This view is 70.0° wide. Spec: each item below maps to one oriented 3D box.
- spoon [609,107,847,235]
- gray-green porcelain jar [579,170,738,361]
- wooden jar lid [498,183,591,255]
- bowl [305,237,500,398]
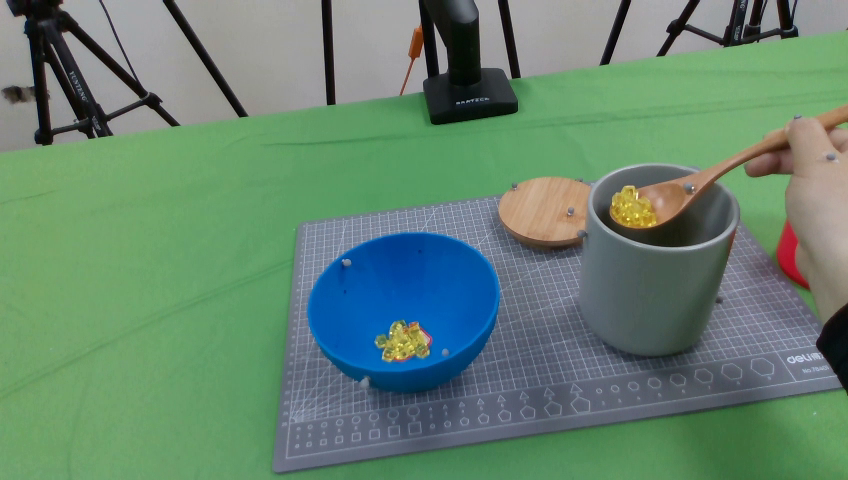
[{"bbox_3d":[0.223,-0.052,0.424,0.193,0.022,0.041,-29,38,22],"label":"spoon"},{"bbox_3d":[0.178,0.025,0.481,0.106,0.128,0.105,-5,40,4],"label":"gray-green porcelain jar"},{"bbox_3d":[0.131,-0.021,0.627,0.108,0.021,0.107,-5,39,4],"label":"wooden jar lid"},{"bbox_3d":[-0.013,0.074,0.490,0.151,0.077,0.150,-4,40,4],"label":"bowl"}]
